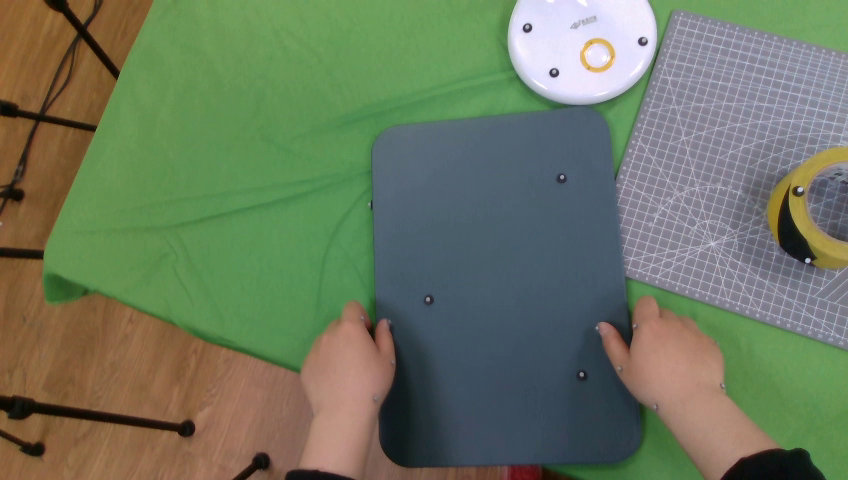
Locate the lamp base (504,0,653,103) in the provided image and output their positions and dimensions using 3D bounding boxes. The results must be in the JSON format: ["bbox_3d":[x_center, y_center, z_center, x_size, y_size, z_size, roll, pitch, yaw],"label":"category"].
[{"bbox_3d":[0.151,-0.251,0.593,0.160,0.181,0.178,-31,75,1],"label":"lamp base"}]

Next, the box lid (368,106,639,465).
[{"bbox_3d":[0.074,0.040,0.638,0.263,0.015,0.370,-5,80,7],"label":"box lid"}]

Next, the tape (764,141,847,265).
[{"bbox_3d":[0.397,-0.035,0.585,0.117,0.053,0.116,-1,80,6],"label":"tape"}]
